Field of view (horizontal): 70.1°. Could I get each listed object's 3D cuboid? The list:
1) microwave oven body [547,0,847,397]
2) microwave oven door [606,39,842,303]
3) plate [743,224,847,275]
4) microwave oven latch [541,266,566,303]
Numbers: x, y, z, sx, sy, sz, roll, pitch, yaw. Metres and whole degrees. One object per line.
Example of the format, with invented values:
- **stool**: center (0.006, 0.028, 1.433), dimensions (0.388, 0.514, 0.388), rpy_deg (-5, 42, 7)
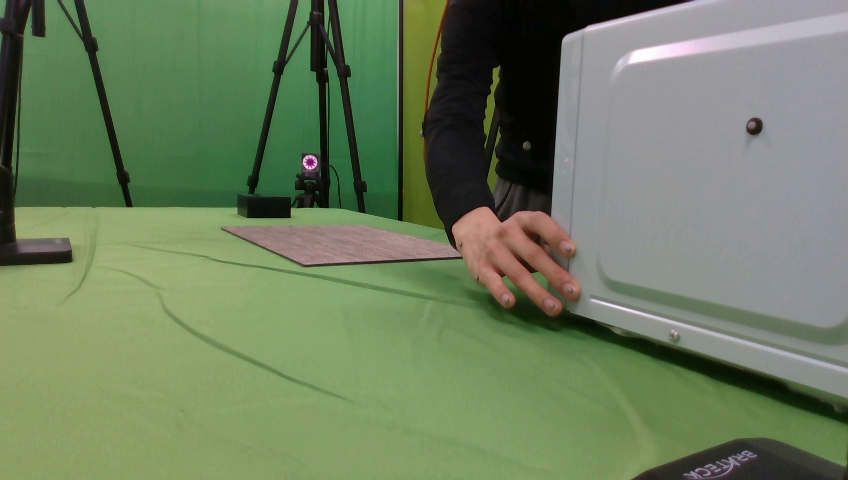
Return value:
- **microwave oven body**: center (0.378, -0.045, 0.509), dimensions (0.444, 0.260, 0.324), rpy_deg (-2, 8, -31)
- **microwave oven door**: center (0.341, -0.070, 0.653), dimensions (0.358, 0.243, 0.039), rpy_deg (-3, 9, -31)
- **plate**: center (0.407, 0.008, 0.553), dimensions (0.209, 0.038, 0.209), rpy_deg (1, 4, 0)
- **microwave oven latch**: center (0.145, 0.040, 0.541), dimensions (0.079, 0.029, 0.030), rpy_deg (2, 6, -3)
